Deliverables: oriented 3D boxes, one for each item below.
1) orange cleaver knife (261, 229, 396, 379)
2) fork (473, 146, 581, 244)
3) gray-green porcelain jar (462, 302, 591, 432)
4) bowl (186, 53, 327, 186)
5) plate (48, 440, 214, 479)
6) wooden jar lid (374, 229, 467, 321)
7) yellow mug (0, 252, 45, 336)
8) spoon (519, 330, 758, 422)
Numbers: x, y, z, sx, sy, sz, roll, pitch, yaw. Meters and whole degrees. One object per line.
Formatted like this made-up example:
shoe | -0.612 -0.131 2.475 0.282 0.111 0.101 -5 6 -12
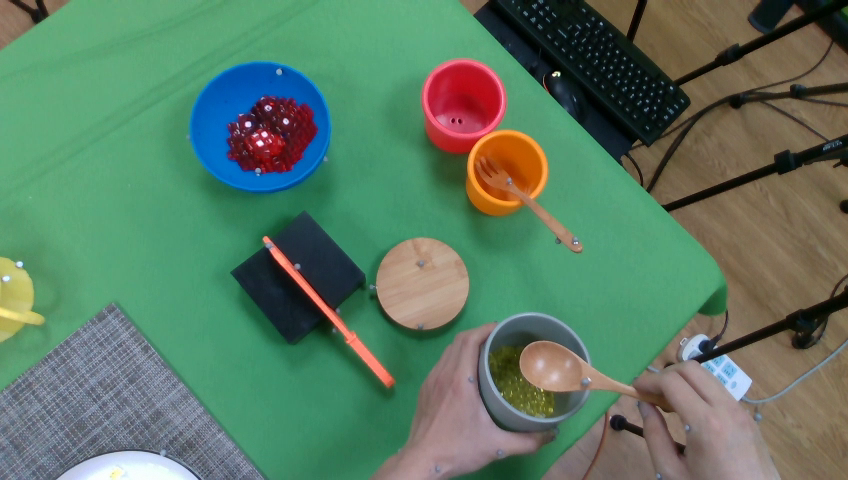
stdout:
orange cleaver knife | -0.104 0.070 0.659 0.012 0.076 0.213 -41 109 -8
fork | 0.109 -0.053 0.665 0.028 0.019 0.205 -25 39 -10
gray-green porcelain jar | 0.097 0.135 0.616 0.106 0.127 0.105 4 62 -7
bowl | -0.183 -0.126 0.691 0.151 0.077 0.151 1 80 -4
plate | -0.300 0.310 0.617 0.209 0.038 0.208 1 80 -5
wooden jar lid | -0.004 0.041 0.705 0.108 0.021 0.108 1 81 -4
yellow mug | -0.468 0.060 0.640 0.131 0.064 0.099 19 78 -2
spoon | 0.173 0.117 0.500 0.193 0.022 0.041 15 76 16
